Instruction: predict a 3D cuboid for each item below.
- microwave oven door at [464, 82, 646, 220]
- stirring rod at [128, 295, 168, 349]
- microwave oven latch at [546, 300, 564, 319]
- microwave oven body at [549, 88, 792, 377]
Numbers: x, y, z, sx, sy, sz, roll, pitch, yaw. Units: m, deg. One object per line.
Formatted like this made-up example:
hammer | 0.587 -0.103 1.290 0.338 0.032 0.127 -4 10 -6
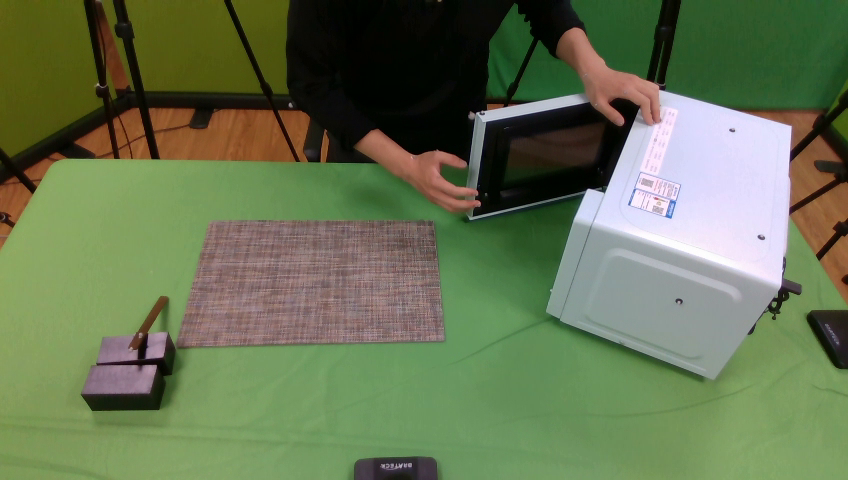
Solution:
microwave oven door | 0.258 -0.176 1.208 0.356 0.245 0.039 -14 48 -16
stirring rod | -0.451 0.131 0.996 0.014 0.006 0.175 9 21 -10
microwave oven latch | 0.242 0.102 1.081 0.030 0.029 0.079 21 48 17
microwave oven body | 0.456 -0.028 1.088 0.325 0.261 0.440 20 47 16
